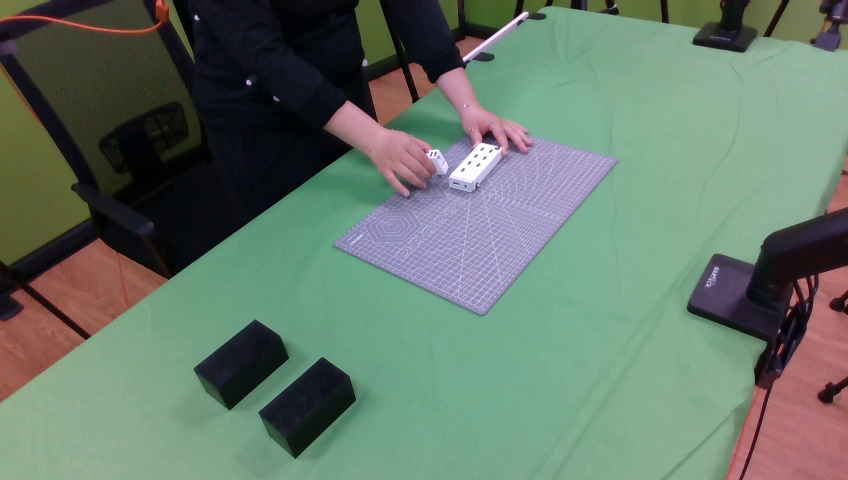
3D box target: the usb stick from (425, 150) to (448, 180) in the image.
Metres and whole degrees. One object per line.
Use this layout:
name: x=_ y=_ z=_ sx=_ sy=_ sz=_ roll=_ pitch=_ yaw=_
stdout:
usb stick: x=0.025 y=-0.132 z=1.082 sx=0.027 sy=0.059 sz=0.021 roll=-1 pitch=50 yaw=27

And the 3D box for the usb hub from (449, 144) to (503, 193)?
usb hub: x=0.096 y=-0.132 z=1.105 sx=0.049 sy=0.025 sz=0.125 roll=18 pitch=47 yaw=27
